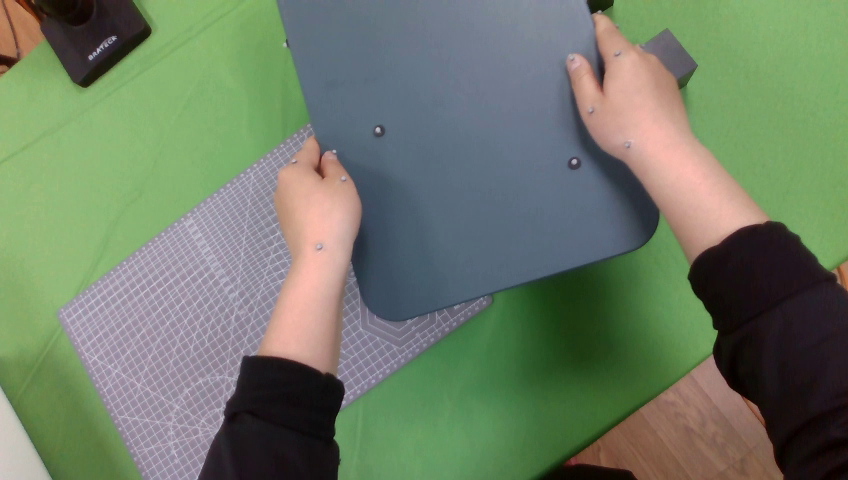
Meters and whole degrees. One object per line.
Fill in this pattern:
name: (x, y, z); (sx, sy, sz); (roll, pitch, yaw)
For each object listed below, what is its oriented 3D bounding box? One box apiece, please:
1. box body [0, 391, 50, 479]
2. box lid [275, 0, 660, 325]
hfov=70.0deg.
box body: (-0.552, 0.341, 0.654); (0.254, 0.161, 0.362); (-39, 78, 3)
box lid: (0.024, -0.133, 0.532); (0.263, 0.015, 0.370); (-19, 82, 9)
